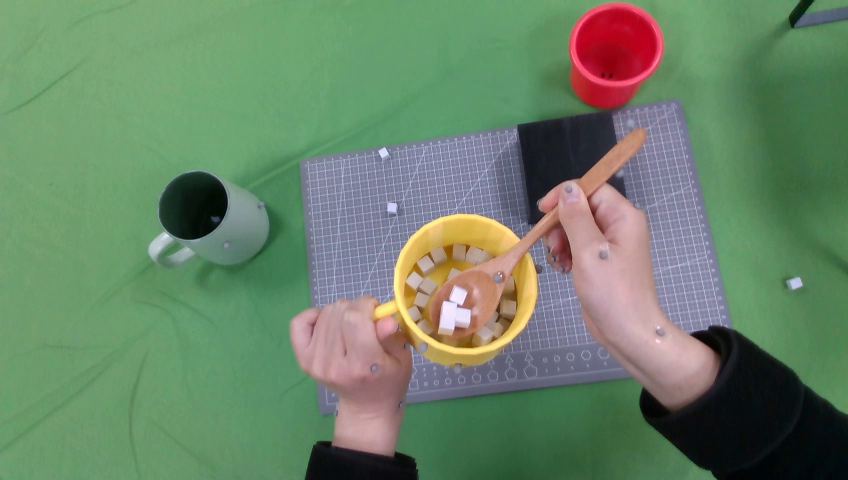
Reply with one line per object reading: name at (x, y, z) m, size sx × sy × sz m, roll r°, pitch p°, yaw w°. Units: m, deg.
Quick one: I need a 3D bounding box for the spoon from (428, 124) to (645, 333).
spoon at (0.077, -0.007, 0.414) m, size 0.194 × 0.022 × 0.041 m, roll -44°, pitch 75°, yaw 12°

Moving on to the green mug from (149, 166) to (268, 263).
green mug at (-0.245, -0.019, 0.674) m, size 0.125 × 0.105 × 0.092 m, roll -39°, pitch 77°, yaw -2°

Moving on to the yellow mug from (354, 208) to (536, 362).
yellow mug at (0.012, 0.040, 0.437) m, size 0.131 × 0.064 × 0.099 m, roll -19°, pitch 74°, yaw -7°
